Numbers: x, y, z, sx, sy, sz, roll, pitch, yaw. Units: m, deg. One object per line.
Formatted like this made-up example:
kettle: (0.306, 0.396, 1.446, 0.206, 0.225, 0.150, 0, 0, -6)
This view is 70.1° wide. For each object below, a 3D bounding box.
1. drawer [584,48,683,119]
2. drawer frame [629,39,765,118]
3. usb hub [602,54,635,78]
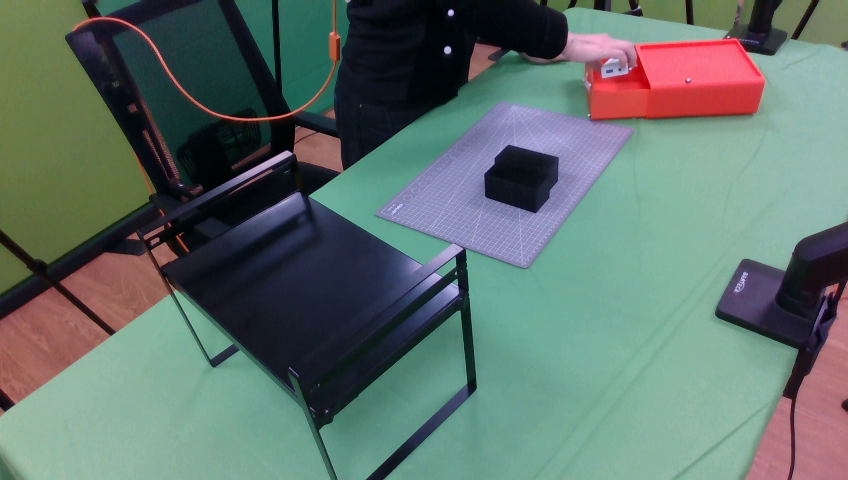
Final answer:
drawer: (0.442, -0.329, 1.250, 0.211, 0.073, 0.194, 1, 41, 8)
drawer frame: (0.544, -0.332, 1.233, 0.213, 0.083, 0.201, -1, 41, 6)
usb hub: (0.389, -0.348, 1.208, 0.049, 0.025, 0.125, -2, 23, 27)
